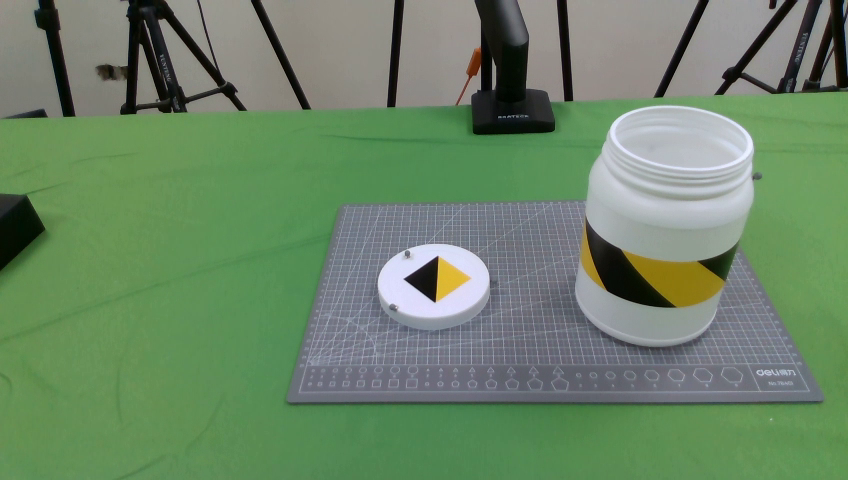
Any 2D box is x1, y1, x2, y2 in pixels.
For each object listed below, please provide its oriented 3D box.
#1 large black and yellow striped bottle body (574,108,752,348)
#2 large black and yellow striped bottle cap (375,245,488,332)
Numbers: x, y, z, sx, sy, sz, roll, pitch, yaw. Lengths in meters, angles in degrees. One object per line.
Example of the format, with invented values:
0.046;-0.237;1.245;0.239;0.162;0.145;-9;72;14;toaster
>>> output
0.206;-0.010;0.537;0.131;0.185;0.129;-2;38;2;large black and yellow striped bottle body
0.008;0.046;0.618;0.115;0.019;0.114;-1;39;1;large black and yellow striped bottle cap
